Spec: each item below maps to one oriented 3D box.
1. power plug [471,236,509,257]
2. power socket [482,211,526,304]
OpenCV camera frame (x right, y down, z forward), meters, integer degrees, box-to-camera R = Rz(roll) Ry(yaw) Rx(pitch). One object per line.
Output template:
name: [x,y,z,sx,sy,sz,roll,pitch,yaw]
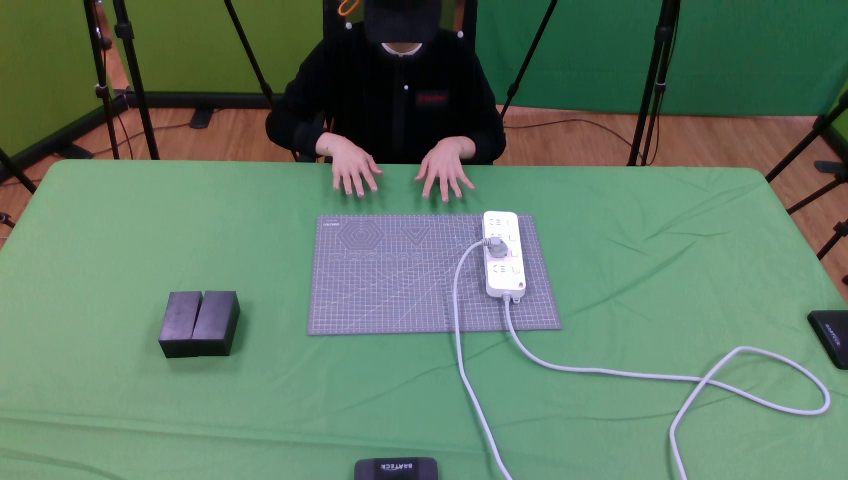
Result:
power plug: [0.125,0.013,1.149,0.072,0.053,0.035,11,46,5]
power socket: [0.153,0.024,1.174,0.072,0.033,0.225,2,46,0]
